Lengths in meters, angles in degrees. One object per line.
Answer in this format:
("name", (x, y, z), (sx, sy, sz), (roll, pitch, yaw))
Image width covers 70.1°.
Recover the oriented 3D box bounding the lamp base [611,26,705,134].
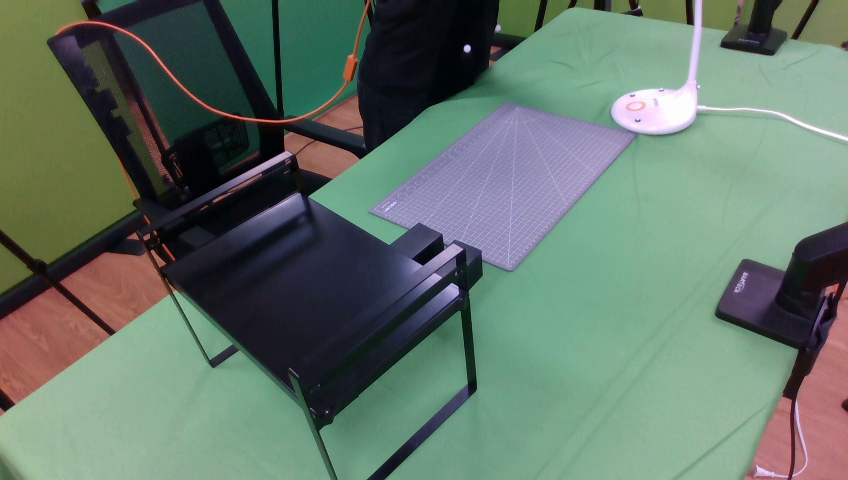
("lamp base", (0.459, -0.316, 1.154), (0.179, 0.181, 0.159), (-6, 40, -1))
